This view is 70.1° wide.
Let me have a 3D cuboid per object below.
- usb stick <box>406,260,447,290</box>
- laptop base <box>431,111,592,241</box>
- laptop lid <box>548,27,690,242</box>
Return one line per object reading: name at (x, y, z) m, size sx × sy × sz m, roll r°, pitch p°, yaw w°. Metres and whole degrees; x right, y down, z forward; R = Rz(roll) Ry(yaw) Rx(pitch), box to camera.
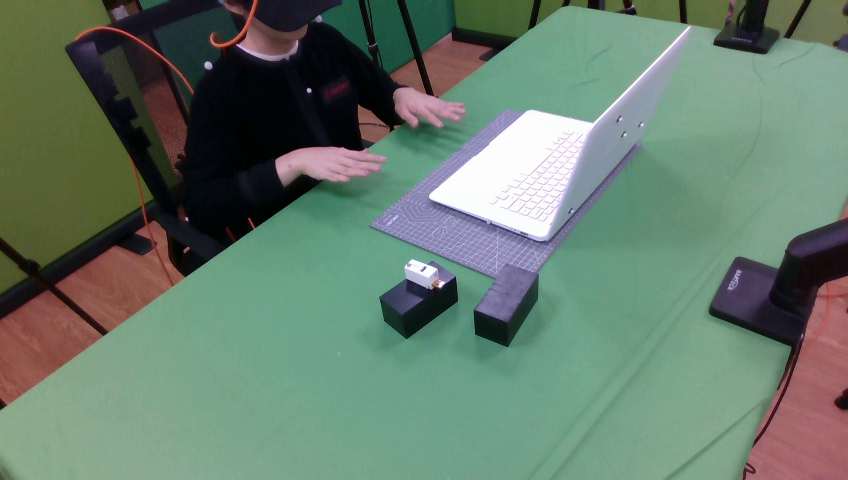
usb stick at (0.005, 0.050, 0.837) m, size 0.059 × 0.027 × 0.021 m, roll 24°, pitch 48°, yaw 28°
laptop base at (0.206, -0.130, 1.100) m, size 0.233 × 0.023 × 0.355 m, roll 20°, pitch 48°, yaw 34°
laptop lid at (0.309, -0.168, 0.949) m, size 0.013 × 0.242 × 0.358 m, roll 33°, pitch 52°, yaw 20°
